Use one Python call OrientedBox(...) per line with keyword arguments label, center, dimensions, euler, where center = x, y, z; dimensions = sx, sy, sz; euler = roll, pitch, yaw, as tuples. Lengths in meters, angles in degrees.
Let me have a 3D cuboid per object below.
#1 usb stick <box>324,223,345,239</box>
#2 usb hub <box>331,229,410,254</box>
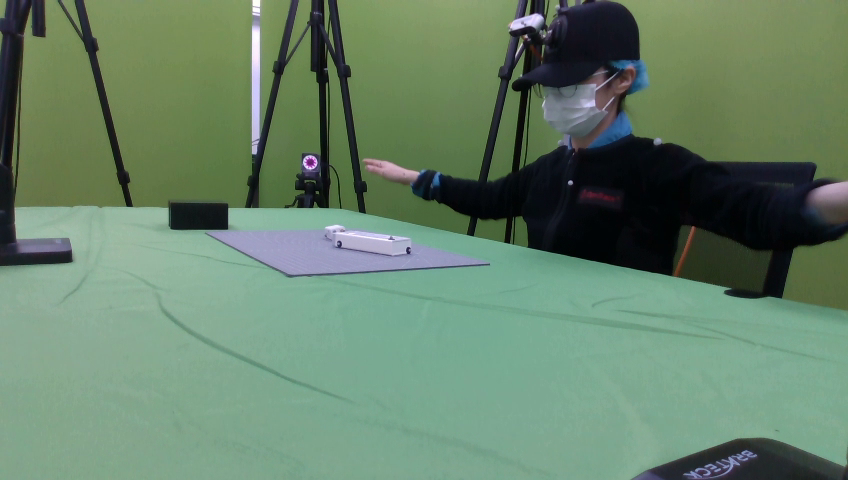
OrientedBox(label="usb stick", center=(-0.153, -0.015, 1.051), dimensions=(0.027, 0.021, 0.059), euler=(-14, 12, -25))
OrientedBox(label="usb hub", center=(-0.085, 0.001, 0.946), dimensions=(0.124, 0.025, 0.050), euler=(7, 9, 35))
